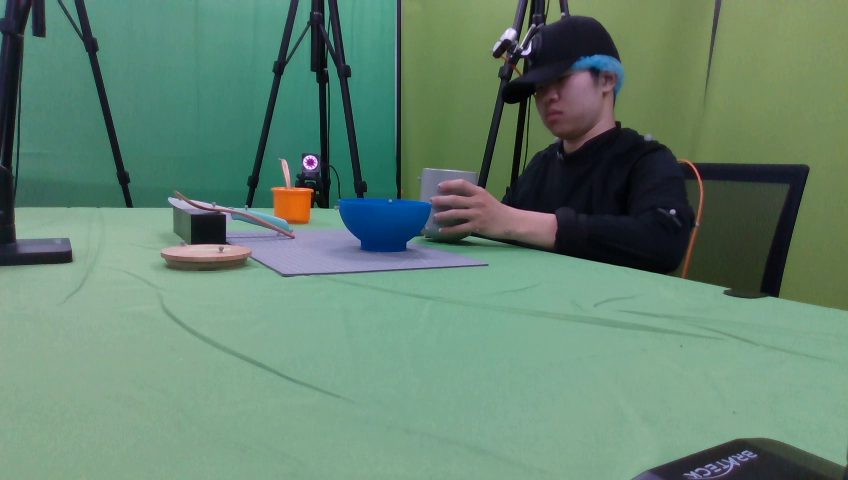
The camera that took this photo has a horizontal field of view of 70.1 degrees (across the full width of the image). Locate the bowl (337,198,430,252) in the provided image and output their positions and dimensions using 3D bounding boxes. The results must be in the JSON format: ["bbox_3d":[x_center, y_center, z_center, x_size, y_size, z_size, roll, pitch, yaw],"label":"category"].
[{"bbox_3d":[-0.066,-0.024,0.967,0.151,0.077,0.151,3,7,0],"label":"bowl"}]

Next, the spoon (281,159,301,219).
[{"bbox_3d":[-0.307,-0.117,1.368,0.042,0.193,0.021,1,-37,-22],"label":"spoon"}]

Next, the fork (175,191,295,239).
[{"bbox_3d":[-0.306,-0.039,0.993,0.208,0.018,0.028,19,-9,-34],"label":"fork"}]

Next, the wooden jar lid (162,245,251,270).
[{"bbox_3d":[-0.278,0.022,0.777,0.108,0.020,0.108,2,6,0],"label":"wooden jar lid"}]

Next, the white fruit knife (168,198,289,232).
[{"bbox_3d":[-0.329,-0.044,1.036,0.208,0.027,0.016,14,-1,-32],"label":"white fruit knife"}]

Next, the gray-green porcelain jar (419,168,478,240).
[{"bbox_3d":[0.043,-0.068,1.124,0.106,0.126,0.106,5,8,0],"label":"gray-green porcelain jar"}]
